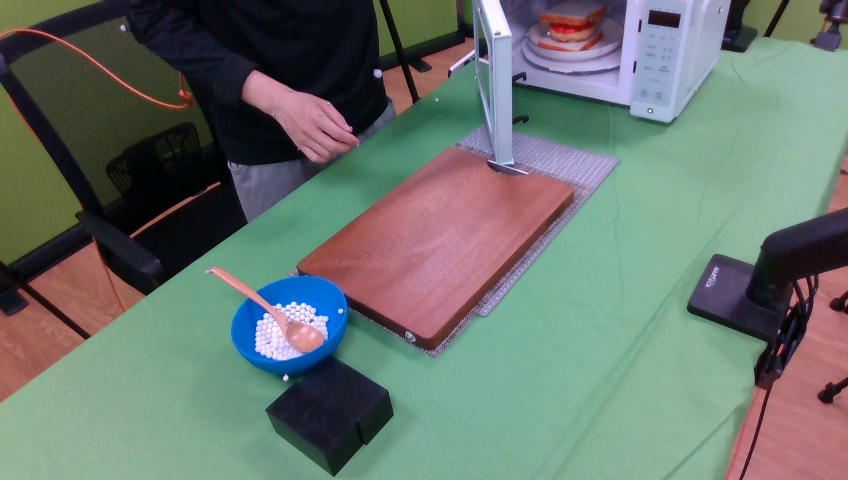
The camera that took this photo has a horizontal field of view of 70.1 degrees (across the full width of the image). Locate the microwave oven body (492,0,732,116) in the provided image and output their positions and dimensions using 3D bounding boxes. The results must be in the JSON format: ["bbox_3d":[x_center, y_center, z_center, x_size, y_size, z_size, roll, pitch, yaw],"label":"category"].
[{"bbox_3d":[0.377,-0.462,1.267,0.438,0.261,0.327,21,48,30],"label":"microwave oven body"}]

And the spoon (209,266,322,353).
[{"bbox_3d":[-0.214,0.088,0.806,0.193,0.021,0.042,37,55,11],"label":"spoon"}]

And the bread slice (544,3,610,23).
[{"bbox_3d":[0.328,-0.483,1.279,0.106,0.018,0.135,21,36,31],"label":"bread slice"}]

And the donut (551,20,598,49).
[{"bbox_3d":[0.322,-0.443,1.294,0.099,0.048,0.098,-3,42,3],"label":"donut"}]

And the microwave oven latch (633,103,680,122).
[{"bbox_3d":[0.443,-0.249,1.157,0.078,0.029,0.030,21,48,30],"label":"microwave oven latch"}]

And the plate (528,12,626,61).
[{"bbox_3d":[0.334,-0.447,1.330,0.207,0.039,0.206,-6,43,6],"label":"plate"}]

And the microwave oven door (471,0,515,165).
[{"bbox_3d":[0.127,-0.340,1.153,0.039,0.245,0.354,-6,40,2],"label":"microwave oven door"}]

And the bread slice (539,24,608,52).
[{"bbox_3d":[0.336,-0.450,1.335,0.132,0.019,0.104,-24,43,-19],"label":"bread slice"}]

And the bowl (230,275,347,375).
[{"bbox_3d":[-0.171,0.125,0.802,0.151,0.077,0.150,-4,40,4],"label":"bowl"}]
